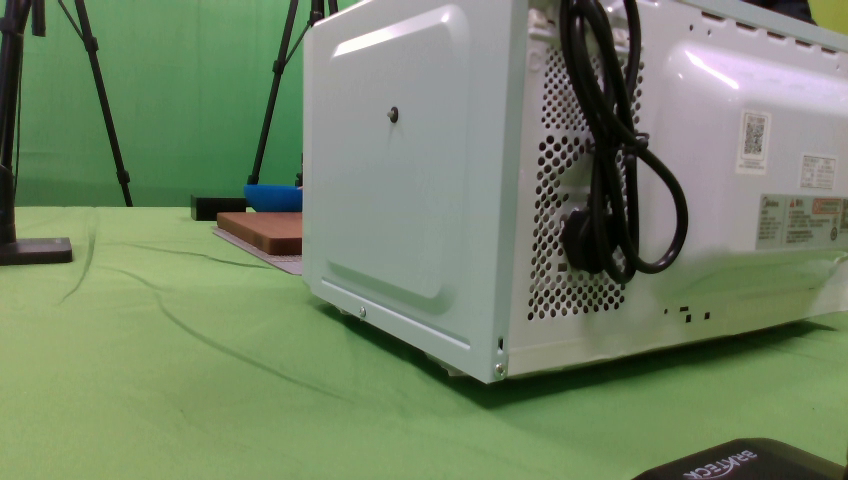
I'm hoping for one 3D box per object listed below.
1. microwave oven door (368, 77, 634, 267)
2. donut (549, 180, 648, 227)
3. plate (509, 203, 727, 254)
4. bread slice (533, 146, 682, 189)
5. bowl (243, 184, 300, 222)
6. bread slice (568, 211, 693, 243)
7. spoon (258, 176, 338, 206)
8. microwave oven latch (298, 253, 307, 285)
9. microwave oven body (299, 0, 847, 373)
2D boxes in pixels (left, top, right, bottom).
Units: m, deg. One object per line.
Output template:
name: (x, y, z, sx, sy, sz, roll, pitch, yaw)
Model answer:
microwave oven door: (0.094, -0.099, 0.832, 0.355, 0.243, 0.039, 4, 7, 18)
donut: (0.178, -0.037, 0.621, 0.099, 0.048, 0.099, -3, 6, 1)
plate: (0.189, -0.012, 0.608, 0.208, 0.039, 0.207, 3, 5, 0)
bread slice: (0.187, -0.073, 0.605, 0.107, 0.018, 0.133, 3, 15, -23)
bowl: (-0.322, -0.081, 1.334, 0.151, 0.077, 0.151, 3, 7, 0)
bread slice: (0.208, -0.015, 0.603, 0.105, 0.019, 0.131, 1, 9, 3)
spoon: (-0.279, -0.112, 1.356, 0.194, 0.021, 0.041, -27, 19, -27)
microwave oven latch: (-0.081, 0.027, 0.583, 0.079, 0.029, 0.030, -1, 7, -32)
microwave oven body: (0.151, -0.055, 0.543, 0.444, 0.260, 0.324, -2, 7, -33)
